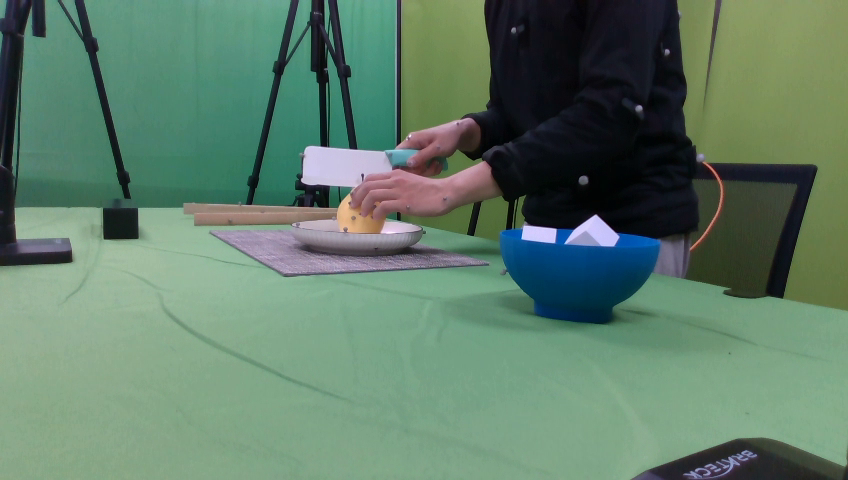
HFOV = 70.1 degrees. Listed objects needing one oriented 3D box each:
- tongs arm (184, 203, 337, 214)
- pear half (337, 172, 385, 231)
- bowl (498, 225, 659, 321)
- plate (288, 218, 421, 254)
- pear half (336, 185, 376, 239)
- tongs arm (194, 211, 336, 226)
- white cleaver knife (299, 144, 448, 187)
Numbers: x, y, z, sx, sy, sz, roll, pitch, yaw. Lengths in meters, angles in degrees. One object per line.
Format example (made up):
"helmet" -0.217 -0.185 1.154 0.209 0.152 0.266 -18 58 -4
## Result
"tongs arm" -0.337 -0.065 1.376 0.387 0.026 0.050 0 9 -25
"pear half" -0.094 -0.051 0.948 0.077 0.110 0.055 -9 14 -39
"bowl" 0.145 0.032 0.585 0.151 0.077 0.151 2 7 0
"plate" -0.109 -0.007 0.956 0.208 0.039 0.207 2 7 0
"pear half" -0.115 -0.046 0.978 0.071 0.088 0.031 -8 12 -39
"tongs arm" -0.298 -0.049 1.307 0.390 0.028 0.028 -3 8 -38
"white cleaver knife" -0.075 -0.119 0.982 0.288 0.066 0.021 -5 8 -37
